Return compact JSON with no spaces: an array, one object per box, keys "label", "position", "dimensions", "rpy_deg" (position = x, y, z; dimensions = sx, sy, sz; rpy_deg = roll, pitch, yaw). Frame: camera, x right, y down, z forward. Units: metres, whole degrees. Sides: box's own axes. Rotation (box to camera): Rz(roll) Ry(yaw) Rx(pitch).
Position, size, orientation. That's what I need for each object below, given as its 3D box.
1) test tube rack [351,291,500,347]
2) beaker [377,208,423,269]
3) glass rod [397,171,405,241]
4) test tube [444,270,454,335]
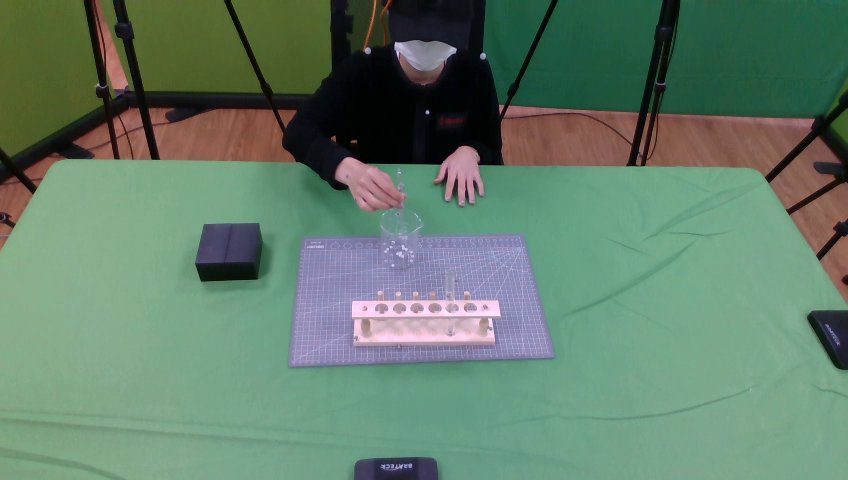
[{"label":"test tube rack","position":[0.000,0.129,1.026],"dimensions":[0.242,0.085,0.066],"rpy_deg":[0,46,-4]},{"label":"beaker","position":[-0.046,0.000,1.138],"dimensions":[0.084,0.101,0.073],"rpy_deg":[3,46,-3]},{"label":"glass rod","position":[-0.040,-0.056,1.100],"dimensions":[0.008,0.201,0.008],"rpy_deg":[0,54,1]},{"label":"test tube","position":[0.041,0.105,0.983],"dimensions":[0.017,0.151,0.017],"rpy_deg":[-1,44,1]}]
